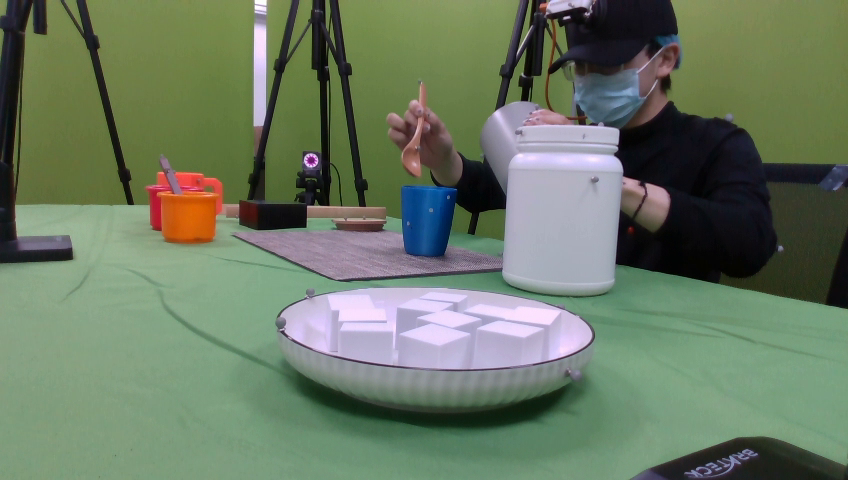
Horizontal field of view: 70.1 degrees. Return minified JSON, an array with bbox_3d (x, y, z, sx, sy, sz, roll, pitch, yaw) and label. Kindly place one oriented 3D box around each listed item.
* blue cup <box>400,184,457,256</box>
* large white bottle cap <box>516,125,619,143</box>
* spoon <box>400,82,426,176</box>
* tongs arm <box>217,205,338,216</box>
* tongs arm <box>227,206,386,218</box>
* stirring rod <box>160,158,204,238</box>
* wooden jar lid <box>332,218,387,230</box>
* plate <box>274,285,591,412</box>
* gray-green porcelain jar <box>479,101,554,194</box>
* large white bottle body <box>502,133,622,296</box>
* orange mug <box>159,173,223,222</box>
[{"bbox_3d":[0.004,-0.030,0.901,0.093,0.100,0.092,3,9,0],"label":"blue cup"},{"bbox_3d":[0.164,-0.120,0.695,0.115,0.018,0.115,2,8,0],"label":"large white bottle cap"},{"bbox_3d":[-0.010,-0.176,0.939,0.042,0.193,0.021,33,-37,-33],"label":"spoon"},{"bbox_3d":[-0.288,-0.068,1.435,0.389,0.027,0.028,0,-1,-17],"label":"tongs arm"},{"bbox_3d":[-0.251,-0.063,1.360,0.387,0.026,0.050,-1,2,-31],"label":"tongs arm"},{"bbox_3d":[-0.390,-0.070,0.972,0.014,0.006,0.175,-2,50,-48],"label":"stirring rod"},{"bbox_3d":[-0.129,-0.032,1.204,0.108,0.020,0.108,0,5,0],"label":"wooden jar lid"},{"bbox_3d":[0.005,0.069,0.408,0.208,0.039,0.207,2,7,0],"label":"plate"},{"bbox_3d":[0.146,-0.116,0.845,0.106,0.106,0.126,0,45,-20],"label":"gray-green porcelain jar"},{"bbox_3d":[0.161,-0.037,0.706,0.131,0.184,0.130,2,7,0],"label":"large white bottle body"},{"bbox_3d":[-0.477,-0.089,1.241,0.127,0.101,0.083,-7,11,-33],"label":"orange mug"}]
